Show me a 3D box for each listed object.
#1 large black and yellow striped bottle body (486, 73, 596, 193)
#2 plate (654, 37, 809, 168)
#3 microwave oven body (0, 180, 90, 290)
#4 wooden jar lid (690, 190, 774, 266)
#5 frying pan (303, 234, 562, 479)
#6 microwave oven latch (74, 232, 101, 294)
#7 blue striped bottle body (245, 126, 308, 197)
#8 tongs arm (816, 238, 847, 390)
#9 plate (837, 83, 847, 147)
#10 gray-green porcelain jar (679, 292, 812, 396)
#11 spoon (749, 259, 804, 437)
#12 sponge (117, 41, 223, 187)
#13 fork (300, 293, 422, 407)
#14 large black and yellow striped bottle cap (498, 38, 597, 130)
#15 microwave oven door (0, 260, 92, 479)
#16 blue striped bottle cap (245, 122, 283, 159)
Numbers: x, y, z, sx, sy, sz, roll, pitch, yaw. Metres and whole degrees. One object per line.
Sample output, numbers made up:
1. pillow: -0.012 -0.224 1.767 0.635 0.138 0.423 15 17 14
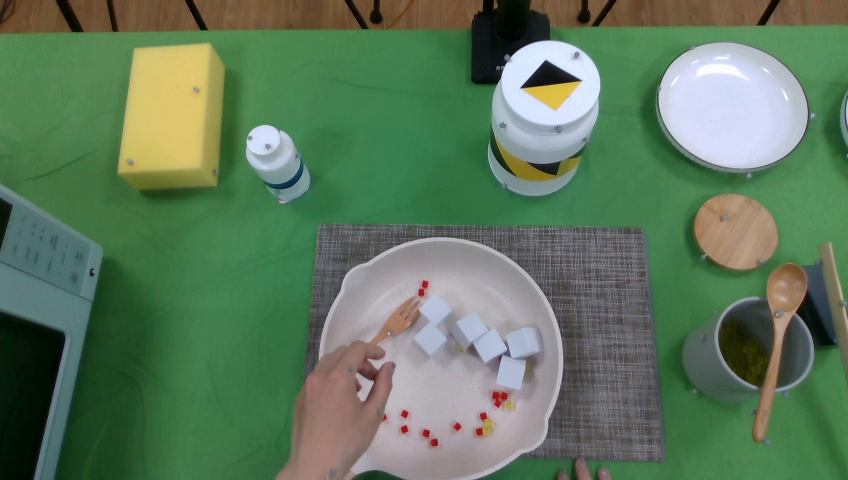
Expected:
1. large black and yellow striped bottle body: 0.148 -0.155 0.788 0.131 0.185 0.130 -1 70 3
2. plate: 0.431 -0.193 0.864 0.207 0.039 0.206 -1 71 3
3. microwave oven body: -0.617 0.163 0.671 0.326 0.262 0.439 1 72 3
4. wooden jar lid: 0.411 -0.015 0.814 0.108 0.021 0.107 -1 73 3
5. frying pan: -0.052 0.207 0.713 0.305 0.103 0.487 41 70 15
6. microwave oven latch: -0.457 0.030 0.811 0.030 0.030 0.078 4 72 4
7. blue striped bottle body: -0.202 -0.110 0.822 0.063 0.121 0.062 -1 71 3
8. tongs arm: 0.516 0.185 0.695 0.051 0.026 0.383 -6 83 -3
9. plate: 0.679 -0.160 0.840 0.209 0.038 0.207 -1 71 3
10. gray-green porcelain jar: 0.367 0.127 0.712 0.106 0.127 0.105 -1 71 3
11. spoon: 0.369 0.112 0.642 0.041 0.022 0.193 17 76 4
12. sponge: -0.368 -0.185 0.887 0.118 0.061 0.205 -4 72 1
13. fork: -0.075 0.133 0.749 0.028 0.019 0.207 44 54 8
14. large black and yellow striped bottle cap: 0.145 -0.184 0.709 0.115 0.019 0.114 -1 73 3
15. microwave oven door: -0.473 0.204 0.645 0.039 0.245 0.353 1 71 4
16. blue striped bottle cap: -0.205 -0.128 0.774 0.044 0.021 0.044 -1 73 3
